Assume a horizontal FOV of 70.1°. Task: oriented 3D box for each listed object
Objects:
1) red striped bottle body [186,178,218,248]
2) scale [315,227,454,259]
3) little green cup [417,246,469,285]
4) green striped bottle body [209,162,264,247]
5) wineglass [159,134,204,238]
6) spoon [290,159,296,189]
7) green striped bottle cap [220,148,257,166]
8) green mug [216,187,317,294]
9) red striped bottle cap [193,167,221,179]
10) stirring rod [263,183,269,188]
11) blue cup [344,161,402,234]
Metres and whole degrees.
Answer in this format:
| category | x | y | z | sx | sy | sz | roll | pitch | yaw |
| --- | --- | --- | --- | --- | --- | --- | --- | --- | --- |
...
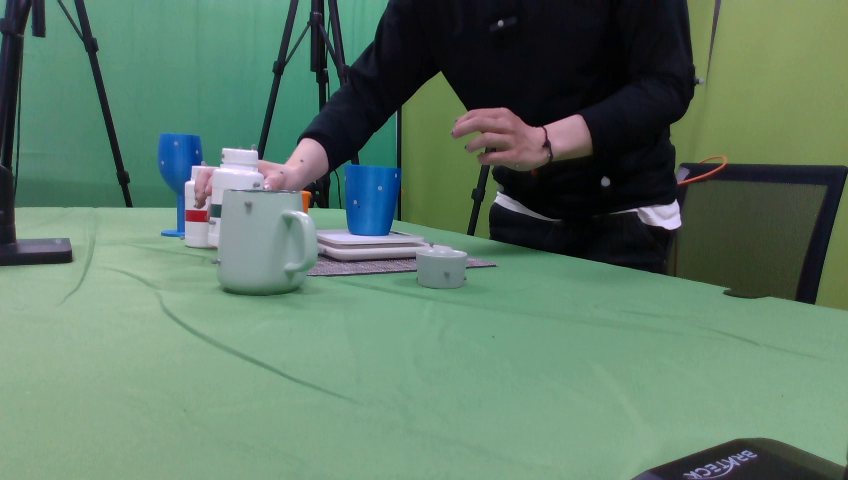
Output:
| category | x | y | z | sx | sy | sz | roll | pitch | yaw |
| --- | --- | --- | --- | --- | --- | --- | --- | --- | --- |
| red striped bottle body | -0.331 | -0.050 | 0.927 | 0.063 | 0.119 | 0.063 | 2 | 7 | 0 |
| scale | -0.067 | 0.001 | 0.906 | 0.202 | 0.031 | 0.148 | -2 | 8 | -31 |
| little green cup | 0.021 | 0.029 | 0.701 | 0.061 | 0.038 | 0.061 | 1 | 6 | 0 |
| green striped bottle body | -0.240 | -0.051 | 0.777 | 0.063 | 0.119 | 0.063 | 5 | 5 | 0 |
| wineglass | -0.415 | -0.093 | 1.040 | 0.074 | 0.172 | 0.073 | 2 | 7 | 0 |
| spoon | -0.273 | -0.102 | 1.252 | 0.042 | 0.193 | 0.021 | 7 | -38 | -17 |
| green striped bottle cap | -0.236 | -0.106 | 0.772 | 0.044 | 0.020 | 0.044 | 4 | 6 | 0 |
| green mug | -0.157 | 0.000 | 0.629 | 0.124 | 0.105 | 0.093 | 7 | 8 | 37 |
| red striped bottle cap | -0.329 | -0.103 | 0.921 | 0.044 | 0.017 | 0.044 | -1 | 9 | 1 |
| stirring rod | -0.309 | -0.098 | 1.209 | 0.006 | 0.177 | 0.014 | -39 | 29 | -4 |
| blue cup | -0.077 | -0.062 | 0.883 | 0.093 | 0.100 | 0.092 | 4 | 5 | 0 |
